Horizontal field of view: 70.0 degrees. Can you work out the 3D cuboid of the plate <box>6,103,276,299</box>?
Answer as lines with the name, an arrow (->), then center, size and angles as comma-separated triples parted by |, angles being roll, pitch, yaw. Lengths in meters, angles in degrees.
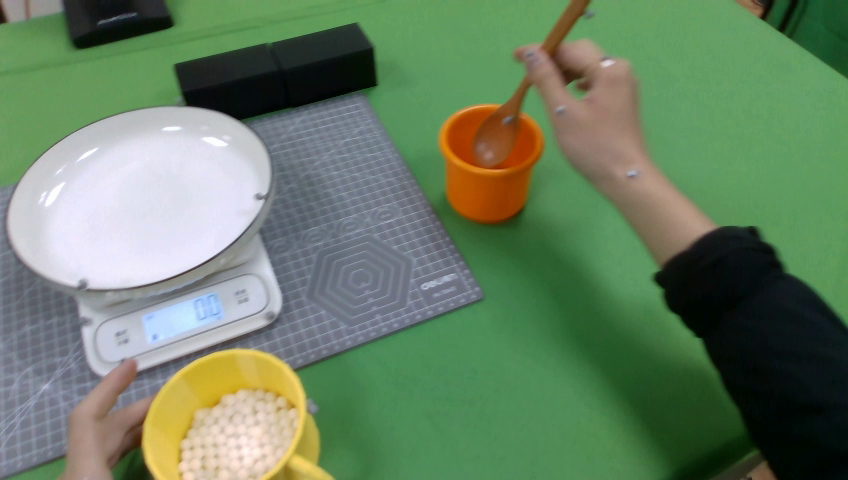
plate -> -0.227, -0.034, 0.506 | 0.209, 0.038, 0.207 | 1, 52, -1

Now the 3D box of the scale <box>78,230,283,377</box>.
scale -> -0.216, 0.007, 0.516 | 0.149, 0.032, 0.198 | -19, 55, -14

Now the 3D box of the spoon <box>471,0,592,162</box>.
spoon -> 0.086, -0.131, 0.480 | 0.022, 0.194, 0.041 | -22, 69, -32

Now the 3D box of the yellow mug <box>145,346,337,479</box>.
yellow mug -> -0.109, 0.135, 0.400 | 0.130, 0.064, 0.099 | 23, 57, 15
